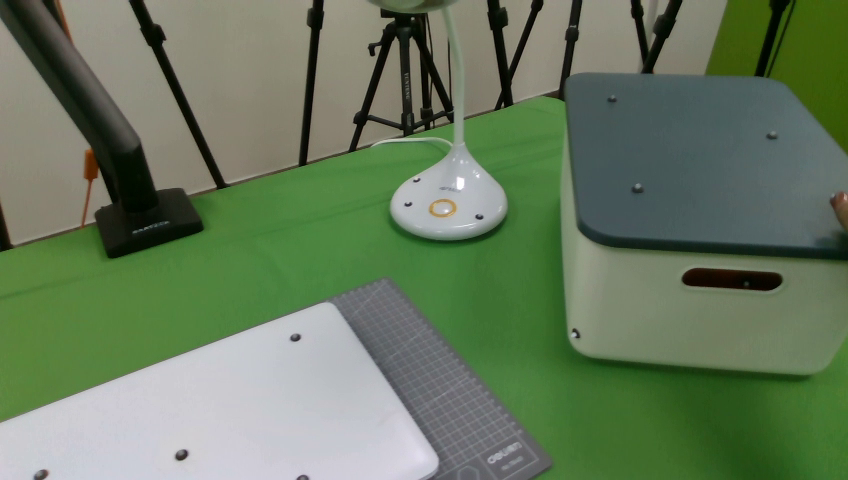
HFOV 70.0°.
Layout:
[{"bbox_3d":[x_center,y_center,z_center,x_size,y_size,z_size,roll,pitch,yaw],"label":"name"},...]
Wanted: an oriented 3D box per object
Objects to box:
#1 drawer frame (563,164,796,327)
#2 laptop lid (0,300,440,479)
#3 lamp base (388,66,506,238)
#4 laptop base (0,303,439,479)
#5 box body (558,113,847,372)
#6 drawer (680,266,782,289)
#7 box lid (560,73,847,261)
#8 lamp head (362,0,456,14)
[{"bbox_3d":[0.265,-0.003,0.682,0.201,0.083,0.212,2,33,6],"label":"drawer frame"},{"bbox_3d":[-0.193,0.174,0.493,0.357,0.013,0.239,-19,41,-23],"label":"laptop lid"},{"bbox_3d":[0.030,-0.121,0.786,0.160,0.182,0.178,3,33,7],"label":"lamp base"},{"bbox_3d":[-0.194,0.183,0.501,0.355,0.023,0.233,-20,43,-24],"label":"laptop base"},{"bbox_3d":[0.282,-0.036,0.670,0.254,0.162,0.361,3,35,8],"label":"box body"},{"bbox_3d":[0.265,0.002,0.681,0.194,0.074,0.210,0,33,6],"label":"drawer"},{"bbox_3d":[0.277,-0.096,0.615,0.263,0.015,0.368,3,36,7],"label":"box lid"},{"bbox_3d":[-0.014,-0.287,0.558,0.112,0.113,0.122,0,75,4],"label":"lamp head"}]
